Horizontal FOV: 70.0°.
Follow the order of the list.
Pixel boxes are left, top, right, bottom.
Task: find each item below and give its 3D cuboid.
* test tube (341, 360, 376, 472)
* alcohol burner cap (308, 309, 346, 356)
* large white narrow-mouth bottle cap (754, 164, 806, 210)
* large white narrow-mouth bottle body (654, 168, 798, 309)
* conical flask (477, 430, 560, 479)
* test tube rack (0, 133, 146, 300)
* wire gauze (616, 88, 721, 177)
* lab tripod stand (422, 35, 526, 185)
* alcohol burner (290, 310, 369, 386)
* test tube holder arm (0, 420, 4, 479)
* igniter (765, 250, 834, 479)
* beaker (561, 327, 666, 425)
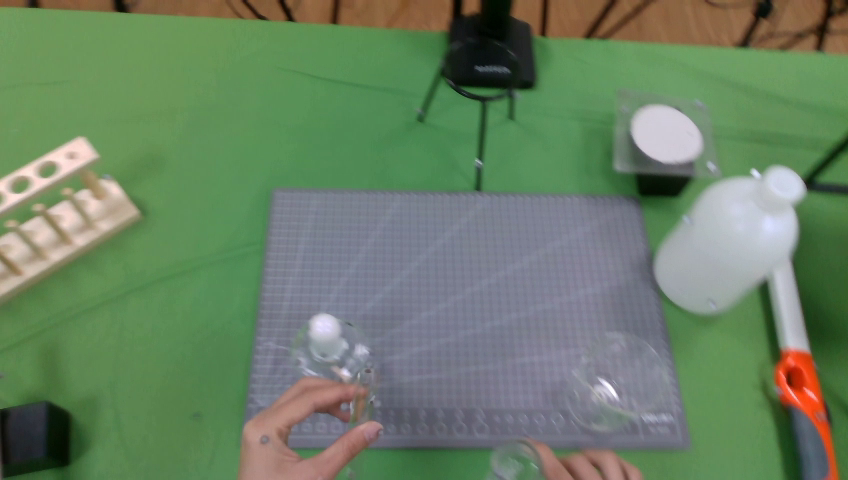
[{"bbox_3d":[-0.050,0.135,0.446,0.017,0.151,0.017,6,46,-6],"label":"test tube"},{"bbox_3d":[-0.090,0.082,0.552,0.034,0.048,0.033,1,57,-1],"label":"alcohol burner cap"},{"bbox_3d":[0.322,-0.048,0.551,0.038,0.024,0.037,2,62,-3],"label":"large white narrow-mouth bottle cap"},{"bbox_3d":[0.318,-0.007,0.626,0.102,0.196,0.101,1,62,-2],"label":"large white narrow-mouth bottle body"},{"bbox_3d":[0.077,0.192,0.500,0.075,0.123,0.074,-4,56,7],"label":"conical flask"},{"bbox_3d":[-0.432,-0.006,0.632,0.242,0.086,0.066,-37,70,-20],"label":"test tube rack"},{"bbox_3d":[0.295,-0.131,0.739,0.121,0.011,0.124,8,62,0],"label":"wire gauze"},{"bbox_3d":[0.067,-0.160,0.722,0.148,0.132,0.147,2,63,-4],"label":"lab tripod stand"},{"bbox_3d":[-0.092,0.099,0.584,0.078,0.120,0.077,3,61,-4],"label":"alcohol burner"},{"bbox_3d":[-0.377,0.172,0.529,0.013,0.015,0.177,-14,65,-21],"label":"test tube holder arm"},{"bbox_3d":[0.401,0.126,0.657,0.057,0.025,0.274,12,62,-9],"label":"igniter"},{"bbox_3d":[0.177,0.137,0.591,0.084,0.101,0.073,-2,62,-4],"label":"beaker"}]
